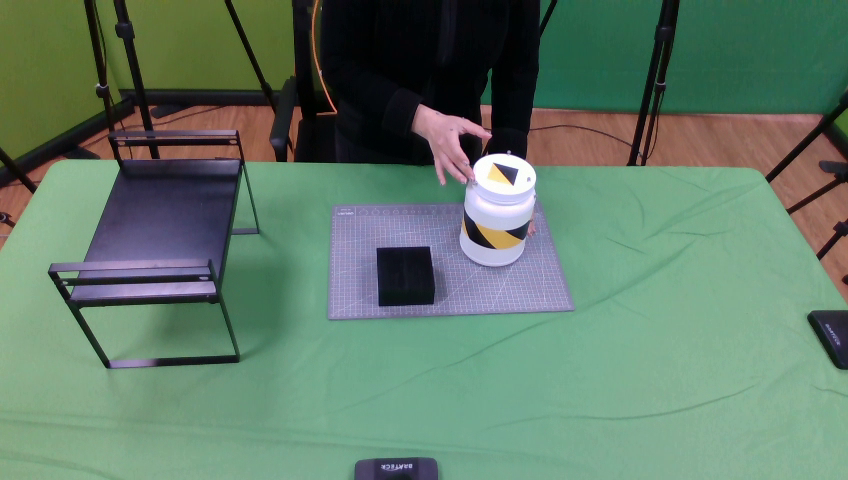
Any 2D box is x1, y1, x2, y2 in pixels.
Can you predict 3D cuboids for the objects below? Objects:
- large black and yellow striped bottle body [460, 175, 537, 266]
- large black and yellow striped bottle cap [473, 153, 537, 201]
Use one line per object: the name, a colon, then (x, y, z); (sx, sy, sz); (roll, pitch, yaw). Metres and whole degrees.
large black and yellow striped bottle body: (0.140, -0.055, 1.142); (0.131, 0.185, 0.130); (2, 46, -2)
large black and yellow striped bottle cap: (0.144, -0.114, 1.081); (0.115, 0.019, 0.114); (1, 46, -1)
